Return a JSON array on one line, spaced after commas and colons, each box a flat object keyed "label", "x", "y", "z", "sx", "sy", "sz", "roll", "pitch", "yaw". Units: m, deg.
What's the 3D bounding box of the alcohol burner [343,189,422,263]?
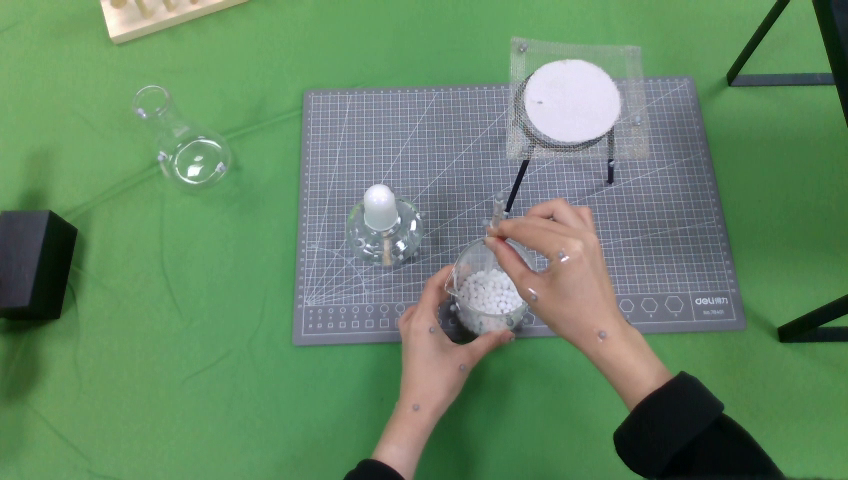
[{"label": "alcohol burner", "x": -0.041, "y": -0.022, "z": 0.585, "sx": 0.078, "sy": 0.120, "sz": 0.077, "roll": 0, "pitch": 68, "yaw": 0}]

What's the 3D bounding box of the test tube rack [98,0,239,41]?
[{"label": "test tube rack", "x": -0.278, "y": -0.327, "z": 0.719, "sx": 0.242, "sy": 0.086, "sz": 0.066, "roll": -21, "pitch": 71, "yaw": -7}]

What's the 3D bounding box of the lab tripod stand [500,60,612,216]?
[{"label": "lab tripod stand", "x": 0.128, "y": -0.102, "z": 0.600, "sx": 0.148, "sy": 0.132, "sz": 0.147, "roll": 0, "pitch": 68, "yaw": 0}]

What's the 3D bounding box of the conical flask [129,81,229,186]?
[{"label": "conical flask", "x": -0.254, "y": -0.112, "z": 0.620, "sx": 0.075, "sy": 0.122, "sz": 0.075, "roll": 0, "pitch": 69, "yaw": 2}]

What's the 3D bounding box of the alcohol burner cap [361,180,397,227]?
[{"label": "alcohol burner cap", "x": -0.042, "y": -0.036, "z": 0.551, "sx": 0.034, "sy": 0.048, "sz": 0.033, "roll": 1, "pitch": 63, "yaw": -1}]

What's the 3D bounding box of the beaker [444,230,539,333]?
[{"label": "beaker", "x": 0.060, "y": 0.045, "z": 0.566, "sx": 0.084, "sy": 0.101, "sz": 0.073, "roll": -12, "pitch": 69, "yaw": -2}]

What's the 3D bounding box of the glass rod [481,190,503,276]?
[{"label": "glass rod", "x": 0.056, "y": 0.000, "z": 0.514, "sx": 0.008, "sy": 0.201, "sz": 0.008, "roll": -1, "pitch": 71, "yaw": 2}]

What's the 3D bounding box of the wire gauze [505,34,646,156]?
[{"label": "wire gauze", "x": 0.134, "y": -0.130, "z": 0.538, "sx": 0.121, "sy": 0.011, "sz": 0.124, "roll": 3, "pitch": 70, "yaw": 1}]
